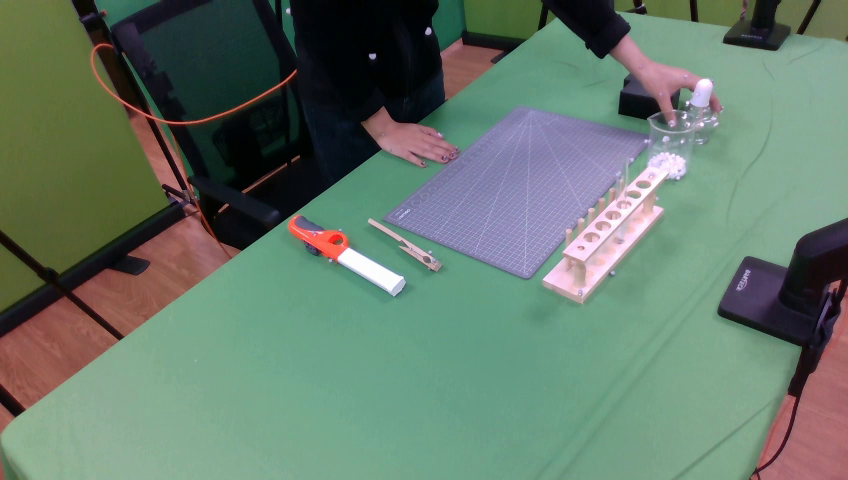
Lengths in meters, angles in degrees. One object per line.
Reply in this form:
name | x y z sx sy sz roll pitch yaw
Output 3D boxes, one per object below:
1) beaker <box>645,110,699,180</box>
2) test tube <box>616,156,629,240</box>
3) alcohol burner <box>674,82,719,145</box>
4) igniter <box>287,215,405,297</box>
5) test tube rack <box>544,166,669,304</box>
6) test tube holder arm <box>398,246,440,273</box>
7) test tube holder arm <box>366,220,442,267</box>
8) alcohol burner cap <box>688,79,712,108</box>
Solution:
beaker | 0.417 -0.160 1.032 0.083 0.101 0.074 25 51 34
test tube | 0.285 -0.057 0.869 0.017 0.151 0.017 -8 41 8
alcohol burner | 0.495 -0.234 1.093 0.078 0.119 0.077 -5 42 5
igniter | -0.137 0.019 0.980 0.274 0.025 0.057 28 62 36
test tube rack | 0.274 -0.018 0.903 0.066 0.085 0.243 26 51 35
test tube holder arm | -0.009 0.027 0.957 0.087 0.015 0.010 33 90 40
test tube holder arm | -0.035 0.004 0.985 0.177 0.015 0.013 31 89 40
alcohol burner cap | 0.491 -0.261 1.070 0.034 0.048 0.033 -1 44 1
